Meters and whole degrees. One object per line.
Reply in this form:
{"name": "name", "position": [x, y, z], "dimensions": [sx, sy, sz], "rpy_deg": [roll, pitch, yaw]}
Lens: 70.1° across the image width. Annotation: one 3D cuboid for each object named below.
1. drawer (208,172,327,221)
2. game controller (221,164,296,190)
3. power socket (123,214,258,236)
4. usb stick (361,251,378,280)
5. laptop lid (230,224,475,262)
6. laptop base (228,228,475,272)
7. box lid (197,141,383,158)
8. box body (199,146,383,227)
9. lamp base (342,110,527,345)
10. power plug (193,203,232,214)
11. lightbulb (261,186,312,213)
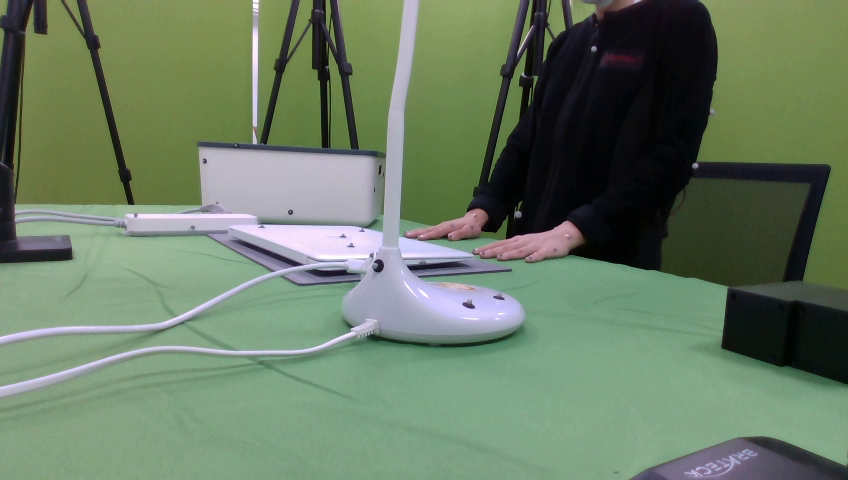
{"name": "drawer", "position": [-0.334, -0.101, 1.326], "dimensions": [0.212, 0.073, 0.194], "rpy_deg": [8, 11, -1]}
{"name": "game controller", "position": [-0.363, -0.139, 1.317], "dimensions": [0.156, 0.051, 0.096], "rpy_deg": [-1, 10, -24]}
{"name": "power socket", "position": [-0.398, -0.028, 1.049], "dimensions": [0.228, 0.032, 0.072], "rpy_deg": [-3, 8, -34]}
{"name": "usb stick", "position": [-0.051, 0.033, 0.656], "dimensions": [0.027, 0.021, 0.059], "rpy_deg": [4, -27, -21]}
{"name": "laptop lid", "position": [-0.119, 0.000, 0.889], "dimensions": [0.243, 0.013, 0.355], "rpy_deg": [1, 7, -33]}
{"name": "laptop base", "position": [-0.122, 0.011, 0.889], "dimensions": [0.237, 0.023, 0.352], "rpy_deg": [2, 6, -35]}
{"name": "box lid", "position": [-0.275, -0.197, 1.326], "dimensions": [0.372, 0.015, 0.263], "rpy_deg": [4, 8, 1]}
{"name": "box body", "position": [-0.276, -0.124, 1.334], "dimensions": [0.364, 0.160, 0.254], "rpy_deg": [3, 7, 1]}
{"name": "lamp base", "position": [0.006, -0.015, 0.505], "dimensions": [0.160, 0.180, 0.180], "rpy_deg": [6, 11, 29]}
{"name": "power plug", "position": [-0.394, -0.042, 1.139], "dimensions": [0.072, 0.052, 0.035], "rpy_deg": [-13, 2, 31]}
{"name": "lightbulb", "position": [-0.294, -0.082, 1.293], "dimensions": [0.108, 0.059, 0.059], "rpy_deg": [-14, 13, -20]}
